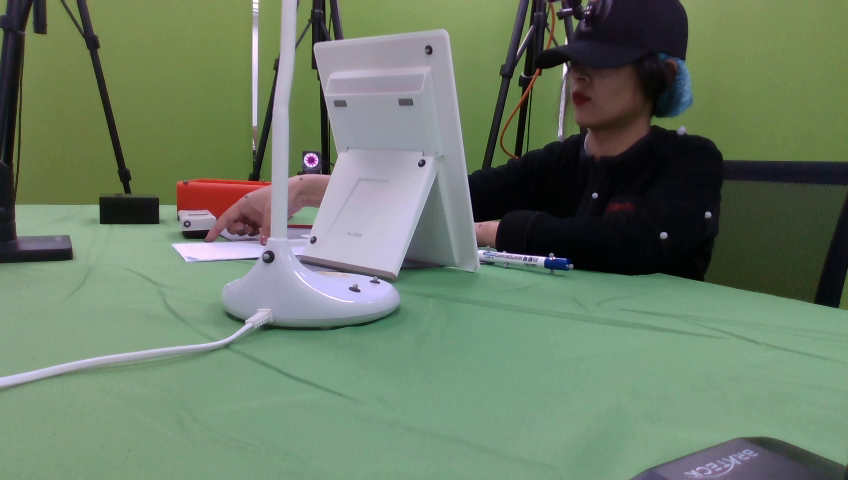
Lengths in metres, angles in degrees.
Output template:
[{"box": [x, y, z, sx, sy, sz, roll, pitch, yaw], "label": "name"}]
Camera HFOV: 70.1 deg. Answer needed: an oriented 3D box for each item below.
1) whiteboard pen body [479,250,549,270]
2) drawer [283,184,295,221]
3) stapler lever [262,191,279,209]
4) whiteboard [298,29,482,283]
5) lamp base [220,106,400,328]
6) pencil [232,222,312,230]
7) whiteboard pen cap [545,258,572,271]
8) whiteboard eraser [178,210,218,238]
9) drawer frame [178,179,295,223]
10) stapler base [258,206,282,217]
[{"box": [0.130, 0.028, 0.827, 0.140, 0.017, 0.017, 7, 9, 38], "label": "whiteboard pen body"}, {"box": [-0.394, -0.087, 1.317, 0.212, 0.073, 0.194, 1, 8, -7], "label": "drawer"}, {"box": [-0.329, -0.086, 1.306, 0.027, 0.040, 0.118, 9, 3, -9], "label": "stapler lever"}, {"box": [-0.075, -0.082, 0.742, 0.216, 0.305, 0.144, 9, 29, 37], "label": "whiteboard"}, {"box": [-0.101, -0.023, 0.531, 0.160, 0.180, 0.179, 4, 10, 10], "label": "lamp base"}, {"box": [-0.261, -0.025, 1.141, 0.195, 0.012, 0.012, 2, 7, -26], "label": "pencil"}, {"box": [0.175, 0.032, 0.790, 0.033, 0.018, 0.018, 4, 7, 37], "label": "whiteboard pen cap"}, {"box": [-0.380, -0.027, 1.014, 0.056, 0.042, 0.112, 0, 8, -25], "label": "whiteboard eraser"}, {"box": [-0.397, -0.088, 1.315, 0.214, 0.082, 0.201, 1, 8, -8], "label": "drawer frame"}, {"box": [-0.331, -0.065, 1.305, 0.041, 0.024, 0.130, 9, -2, -9], "label": "stapler base"}]
